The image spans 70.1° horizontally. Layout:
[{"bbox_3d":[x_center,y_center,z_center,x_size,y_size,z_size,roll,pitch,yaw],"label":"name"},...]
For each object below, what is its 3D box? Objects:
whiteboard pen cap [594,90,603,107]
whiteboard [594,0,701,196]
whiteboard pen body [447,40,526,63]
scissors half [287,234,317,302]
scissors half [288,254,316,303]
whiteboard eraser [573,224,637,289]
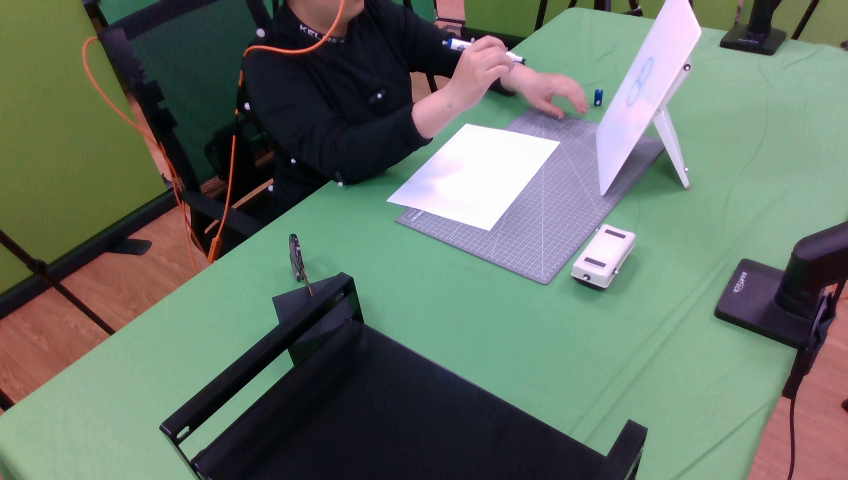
[{"bbox_3d":[0.364,-0.294,1.262,0.018,0.033,0.018,-6,41,6],"label":"whiteboard pen cap"},{"bbox_3d":[0.420,-0.227,1.010,0.144,0.305,0.216,18,42,-2],"label":"whiteboard"},{"bbox_3d":[0.107,-0.319,1.031,0.141,0.017,0.017,9,39,-11],"label":"whiteboard pen body"},{"bbox_3d":[-0.179,0.040,0.885,0.013,0.040,0.173,-11,36,-20],"label":"scissors half"},{"bbox_3d":[-0.178,0.058,0.894,0.013,0.040,0.174,-16,21,-17],"label":"scissors half"},{"bbox_3d":[0.267,0.025,0.891,0.055,0.042,0.113,19,47,31],"label":"whiteboard eraser"}]
